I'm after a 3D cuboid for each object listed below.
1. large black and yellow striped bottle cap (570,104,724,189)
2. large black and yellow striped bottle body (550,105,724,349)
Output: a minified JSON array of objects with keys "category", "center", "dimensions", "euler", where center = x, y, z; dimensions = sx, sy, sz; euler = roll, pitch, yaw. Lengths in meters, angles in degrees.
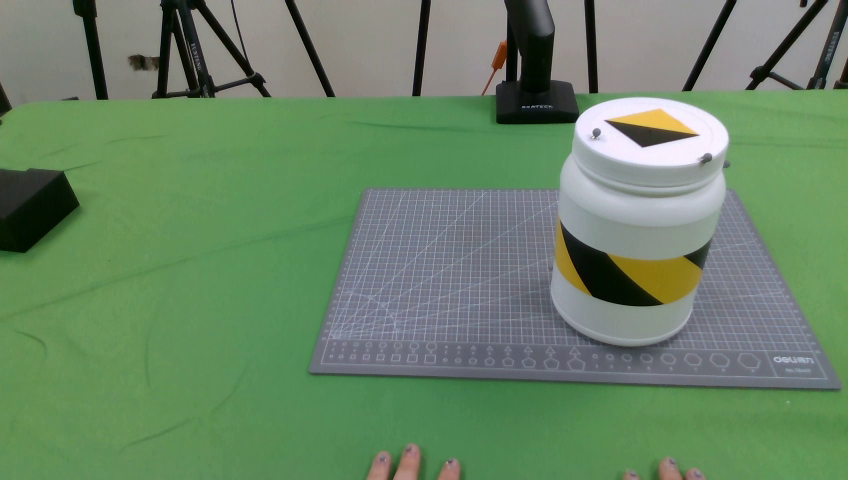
[{"category":"large black and yellow striped bottle cap","center":[0.174,-0.077,0.478],"dimensions":[0.115,0.019,0.114],"euler":[-1,37,1]},{"category":"large black and yellow striped bottle body","center":[0.181,-0.011,0.530],"dimensions":[0.131,0.185,0.129],"euler":[-3,38,2]}]
